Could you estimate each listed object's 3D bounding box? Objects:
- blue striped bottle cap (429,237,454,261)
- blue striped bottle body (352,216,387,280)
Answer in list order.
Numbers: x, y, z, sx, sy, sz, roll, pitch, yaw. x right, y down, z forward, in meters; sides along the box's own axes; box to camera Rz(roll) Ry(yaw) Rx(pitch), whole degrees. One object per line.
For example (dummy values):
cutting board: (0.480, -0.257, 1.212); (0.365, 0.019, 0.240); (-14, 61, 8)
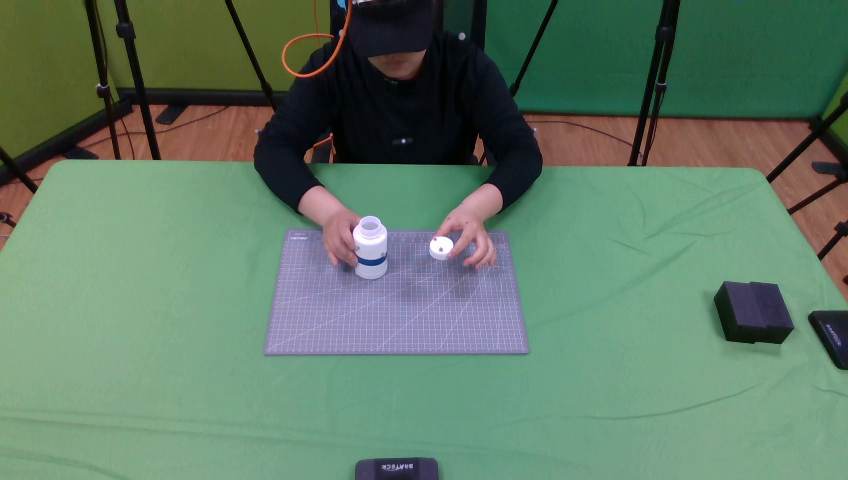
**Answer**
blue striped bottle cap: (0.031, 0.015, 1.093); (0.044, 0.021, 0.044); (1, 48, 0)
blue striped bottle body: (-0.100, 0.011, 1.108); (0.063, 0.121, 0.062); (2, 46, -1)
